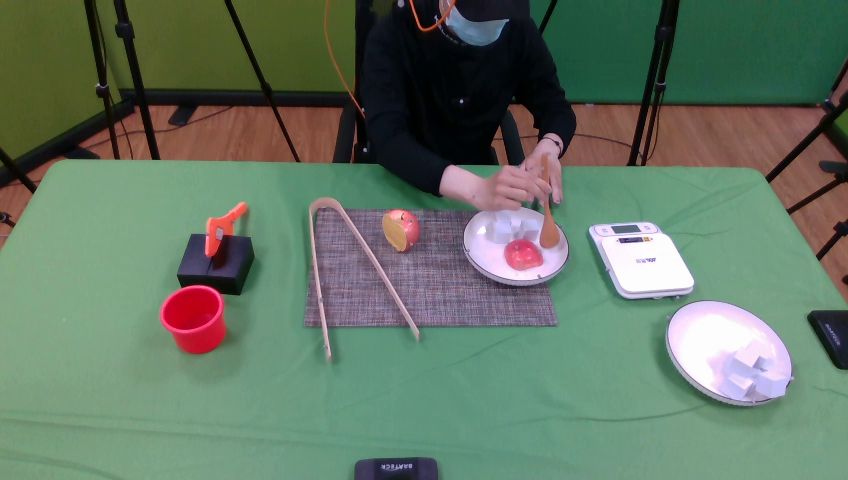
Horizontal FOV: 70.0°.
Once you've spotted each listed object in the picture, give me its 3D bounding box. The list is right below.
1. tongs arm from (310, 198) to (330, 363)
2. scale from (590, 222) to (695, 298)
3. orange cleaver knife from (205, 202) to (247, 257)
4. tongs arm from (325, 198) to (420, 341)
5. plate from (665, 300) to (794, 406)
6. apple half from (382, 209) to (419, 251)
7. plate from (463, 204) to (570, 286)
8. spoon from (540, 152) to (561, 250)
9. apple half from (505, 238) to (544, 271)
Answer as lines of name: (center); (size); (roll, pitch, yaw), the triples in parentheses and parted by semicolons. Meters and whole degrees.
tongs arm: (-0.180, 0.058, 1.117); (0.051, 0.026, 0.382); (-9, 47, -11)
scale: (0.424, 0.031, 1.189); (0.149, 0.032, 0.199); (-3, 46, -7)
orange cleaver knife: (-0.374, -0.024, 1.151); (0.012, 0.077, 0.210); (4, 16, 1)
tongs arm: (-0.101, 0.043, 1.140); (0.028, 0.028, 0.385); (-22, 51, -18)
plate: (0.513, 0.194, 1.034); (0.208, 0.039, 0.206); (2, 46, -2)
apple half: (-0.039, -0.022, 1.175); (0.053, 0.075, 0.080); (-27, 49, -31)
plate: (0.177, 0.013, 1.180); (0.209, 0.038, 0.208); (2, 46, -2)
spoon: (0.230, -0.070, 1.129); (0.041, 0.194, 0.021); (-9, 19, -1)
apple half: (0.194, 0.020, 1.167); (0.081, 0.033, 0.081); (3, 49, -3)
